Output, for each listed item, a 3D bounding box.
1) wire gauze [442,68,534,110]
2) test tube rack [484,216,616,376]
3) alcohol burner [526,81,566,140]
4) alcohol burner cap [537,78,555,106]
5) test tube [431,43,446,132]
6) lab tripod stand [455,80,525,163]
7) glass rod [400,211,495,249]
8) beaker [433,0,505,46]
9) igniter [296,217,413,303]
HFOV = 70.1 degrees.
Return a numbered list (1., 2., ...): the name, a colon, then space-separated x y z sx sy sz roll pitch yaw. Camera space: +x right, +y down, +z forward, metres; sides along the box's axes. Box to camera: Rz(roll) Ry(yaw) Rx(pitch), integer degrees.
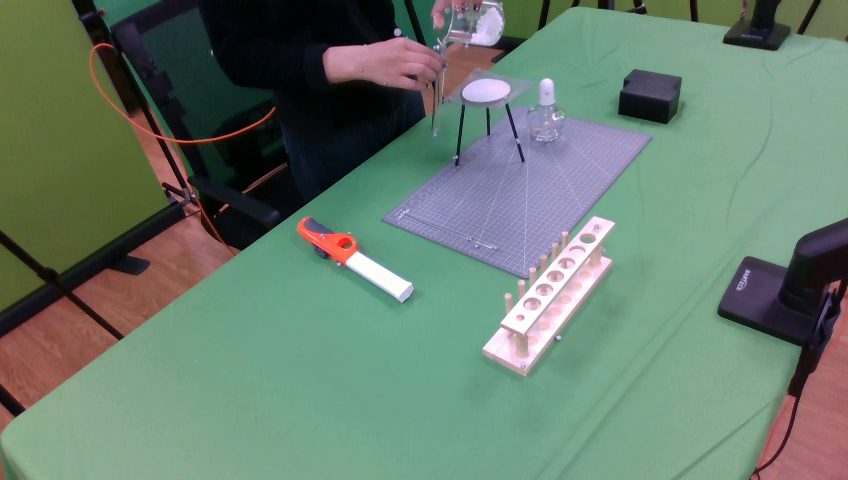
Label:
1. wire gauze: 0.114 -0.269 1.081 0.120 0.011 0.125 21 49 29
2. test tube rack: 0.174 0.064 0.823 0.066 0.085 0.243 23 49 33
3. alcohol burner: 0.235 -0.252 1.159 0.078 0.119 0.077 -4 42 4
4. alcohol burner cap: 0.229 -0.279 1.136 0.034 0.048 0.033 -6 33 4
5. test tube: 0.024 -0.255 1.023 0.017 0.150 0.017 3 30 -1
6. lab tripod stand: 0.120 -0.220 1.126 0.148 0.132 0.147 -4 39 4
7. glass rod: 0.035 -0.018 1.001 0.198 0.008 0.008 21 49 35
8. beaker: 0.074 -0.357 0.991 0.101 0.084 0.073 -2 22 -24
9. igniter: -0.121 0.025 0.970 0.274 0.025 0.057 29 63 37
